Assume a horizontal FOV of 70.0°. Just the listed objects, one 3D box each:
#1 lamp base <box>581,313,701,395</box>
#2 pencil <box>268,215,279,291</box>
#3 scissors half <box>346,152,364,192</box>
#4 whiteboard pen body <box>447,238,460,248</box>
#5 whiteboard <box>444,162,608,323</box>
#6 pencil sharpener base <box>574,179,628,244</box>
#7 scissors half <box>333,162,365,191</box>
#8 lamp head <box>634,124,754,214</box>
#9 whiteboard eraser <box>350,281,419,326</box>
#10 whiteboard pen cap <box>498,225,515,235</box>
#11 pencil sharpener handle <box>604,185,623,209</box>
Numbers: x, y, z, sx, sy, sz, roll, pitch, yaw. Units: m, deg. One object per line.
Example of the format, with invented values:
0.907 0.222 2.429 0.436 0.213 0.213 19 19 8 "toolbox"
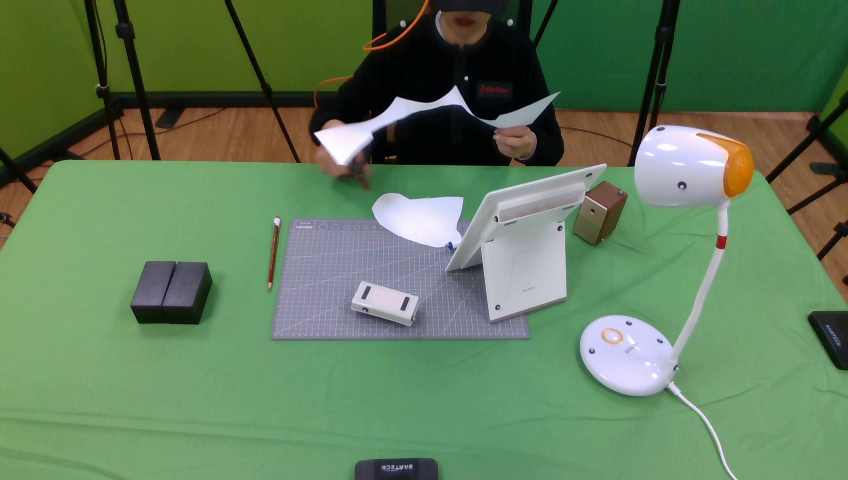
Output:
0.361 0.144 0.972 0.178 0.181 0.160 34 53 23 "lamp base"
-0.291 0.022 1.164 0.012 0.012 0.192 -2 48 -6 "pencil"
-0.134 -0.138 1.227 0.040 0.013 0.174 -36 33 12 "scissors half"
0.112 -0.006 1.204 0.141 0.017 0.017 -14 49 -18 "whiteboard pen body"
0.186 0.025 1.029 0.217 0.306 0.143 -14 68 -18 "whiteboard"
0.355 -0.057 1.217 0.076 0.107 0.061 -33 56 -31 "pencil sharpener base"
-0.151 -0.125 1.228 0.040 0.013 0.174 -43 32 -7 "scissors half"
0.351 -0.089 0.775 0.112 0.113 0.122 -30 30 -28 "lamp head"
-0.069 0.113 1.065 0.112 0.042 0.055 14 46 9 "whiteboard eraser"
0.166 -0.019 1.222 0.033 0.018 0.018 -14 49 -19 "whiteboard pen cap"
0.390 -0.091 1.235 0.030 0.068 0.036 -33 69 -31 "pencil sharpener handle"
